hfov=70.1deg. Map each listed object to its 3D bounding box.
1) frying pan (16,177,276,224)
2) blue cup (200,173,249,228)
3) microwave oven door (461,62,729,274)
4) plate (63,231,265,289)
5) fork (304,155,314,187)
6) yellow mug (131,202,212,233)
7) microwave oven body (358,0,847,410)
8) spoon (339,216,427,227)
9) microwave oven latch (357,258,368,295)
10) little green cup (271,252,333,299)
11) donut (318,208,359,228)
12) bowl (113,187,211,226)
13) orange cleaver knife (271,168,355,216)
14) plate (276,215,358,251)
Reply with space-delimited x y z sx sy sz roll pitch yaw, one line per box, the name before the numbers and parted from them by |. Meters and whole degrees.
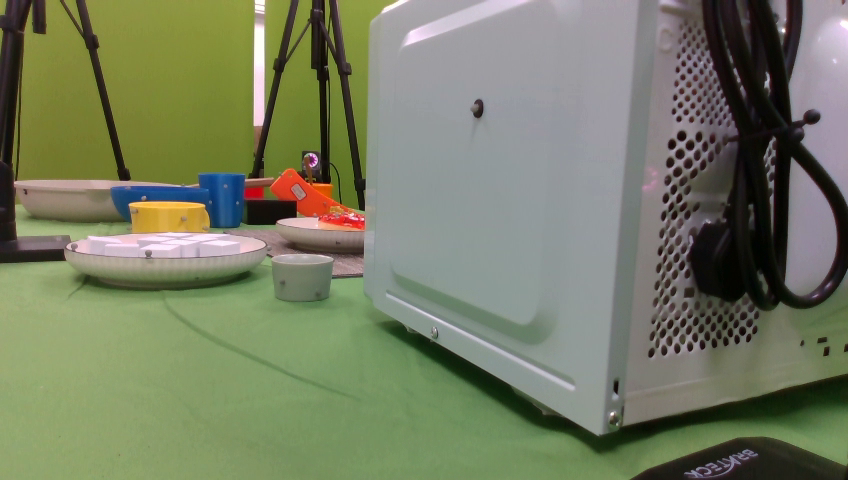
frying pan | -0.553 -0.097 1.266 0.490 0.102 0.305 -10 13 -24
blue cup | -0.380 -0.076 1.155 0.093 0.100 0.092 0 8 0
microwave oven door | 0.203 -0.099 0.805 0.354 0.243 0.039 8 10 39
plate | -0.288 0.021 0.687 0.208 0.039 0.207 2 8 0
fork | -0.268 -0.134 1.446 0.028 0.018 0.207 1 -36 -1
yellow mug | -0.356 -0.020 0.878 0.099 0.064 0.131 5 7 21
microwave oven body | 0.210 -0.051 0.471 0.444 0.260 0.324 -1 7 -28
spoon | -0.087 -0.041 1.268 0.193 0.021 0.041 3 20 13
microwave oven latch | -0.019 0.031 0.529 0.079 0.029 0.030 -1 7 -27
little green cup | -0.122 0.035 0.605 0.061 0.038 0.061 3 6 0
donut | -0.118 -0.024 0.954 0.099 0.048 0.099 5 6 0
bowl | -0.436 -0.046 1.013 0.151 0.077 0.151 2 7 0
orange cleaver knife | -0.236 -0.084 1.333 0.212 0.077 0.012 31 -10 -32
plate | -0.126 -0.012 0.950 0.209 0.038 0.209 2 7 0
